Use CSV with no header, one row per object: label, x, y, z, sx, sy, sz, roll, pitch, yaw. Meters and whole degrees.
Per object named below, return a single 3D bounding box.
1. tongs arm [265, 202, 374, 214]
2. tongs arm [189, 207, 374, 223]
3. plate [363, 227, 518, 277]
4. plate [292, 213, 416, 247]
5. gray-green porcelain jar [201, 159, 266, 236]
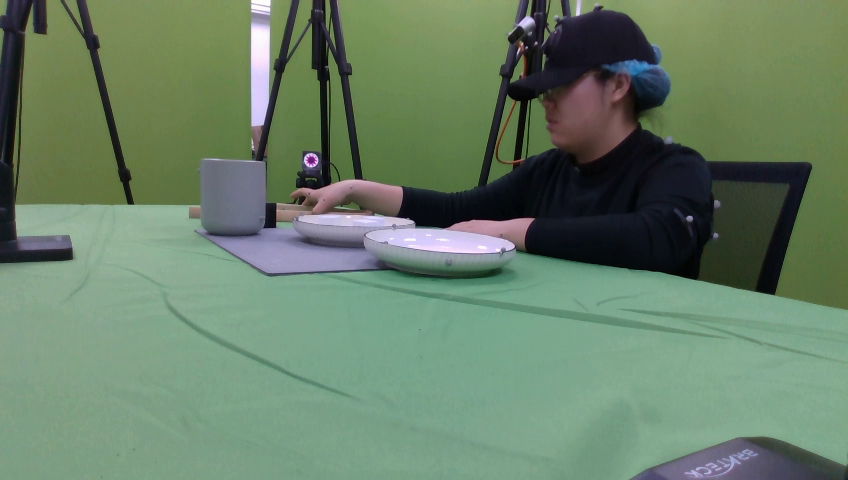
tongs arm,-0.301,-0.067,1.379,0.385,0.026,0.051,4,9,4
tongs arm,-0.303,-0.052,1.303,0.388,0.028,0.028,2,6,-8
plate,0.022,0.016,0.817,0.209,0.038,0.209,4,9,0
plate,-0.118,-0.017,1.024,0.208,0.039,0.207,3,8,0
gray-green porcelain jar,-0.326,-0.073,1.036,0.106,0.126,0.106,3,8,0
